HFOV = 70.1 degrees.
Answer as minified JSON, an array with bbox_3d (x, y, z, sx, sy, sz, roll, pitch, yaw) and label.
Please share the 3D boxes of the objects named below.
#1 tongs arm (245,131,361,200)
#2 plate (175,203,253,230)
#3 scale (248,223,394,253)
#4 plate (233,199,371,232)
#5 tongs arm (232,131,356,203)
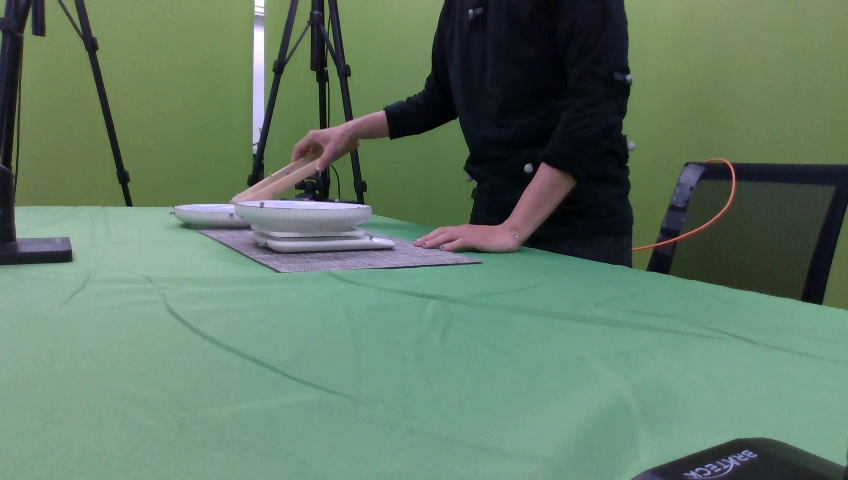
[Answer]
[{"bbox_3d":[-0.254,-0.165,1.347,0.028,0.028,0.388,-1,28,36],"label":"tongs arm"},{"bbox_3d":[-0.380,-0.047,1.199,0.208,0.039,0.207,3,7,0],"label":"plate"},{"bbox_3d":[-0.162,-0.006,0.954,0.202,0.031,0.148,-2,8,-32],"label":"scale"},{"bbox_3d":[-0.188,-0.039,0.939,0.209,0.038,0.209,2,7,0],"label":"plate"},{"bbox_3d":[-0.277,-0.166,1.362,0.050,0.026,0.386,1,29,32],"label":"tongs arm"}]
